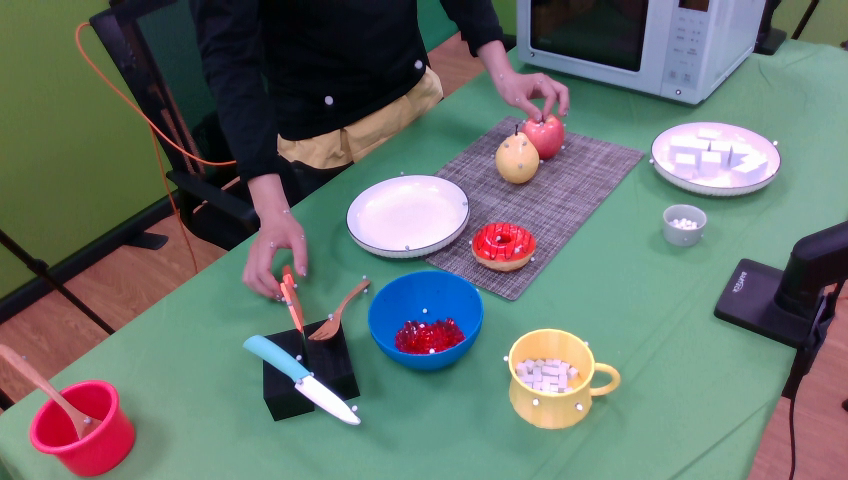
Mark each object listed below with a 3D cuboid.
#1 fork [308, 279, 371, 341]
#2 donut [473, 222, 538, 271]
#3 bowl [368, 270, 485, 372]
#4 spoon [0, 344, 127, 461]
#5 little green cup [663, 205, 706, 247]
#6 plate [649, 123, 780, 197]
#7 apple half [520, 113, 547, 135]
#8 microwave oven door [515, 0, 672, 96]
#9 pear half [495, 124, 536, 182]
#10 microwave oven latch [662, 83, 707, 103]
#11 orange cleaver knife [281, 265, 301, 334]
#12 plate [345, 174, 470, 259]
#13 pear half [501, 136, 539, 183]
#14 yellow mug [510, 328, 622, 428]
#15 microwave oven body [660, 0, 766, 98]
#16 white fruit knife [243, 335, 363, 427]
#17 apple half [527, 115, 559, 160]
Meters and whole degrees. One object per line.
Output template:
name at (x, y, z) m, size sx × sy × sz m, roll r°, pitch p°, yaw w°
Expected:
fork at (-0.109, 0.093, 0.832) m, size 0.028 × 0.018 × 0.207 m, roll -4°, pitch 19°, yaw 15°
donut at (0.123, 0.009, 0.923) m, size 0.099 × 0.048 × 0.098 m, roll -3°, pitch 37°, yaw 3°
bowl at (0.007, 0.118, 0.791) m, size 0.151 × 0.077 × 0.150 m, roll -5°, pitch 40°, yaw 4°
spoon at (-0.433, 0.191, 0.721) m, size 0.194 × 0.021 × 0.042 m, roll 47°, pitch 53°, yaw -6°
little green cup at (0.396, -0.021, 0.926) m, size 0.061 × 0.039 × 0.061 m, roll -4°, pitch 40°, yaw 4°
plate at (0.497, -0.135, 1.046) m, size 0.207 × 0.039 × 0.206 m, roll -4°, pitch 40°, yaw 4°
apple half at (0.200, -0.202, 1.137) m, size 0.032 × 0.081 × 0.081 m, roll 29°, pitch 52°, yaw 32°
microwave oven door at (0.343, -0.455, 1.259) m, size 0.353 × 0.245 × 0.039 m, roll 26°, pitch 51°, yaw 33°
pear half at (0.160, -0.162, 1.067) m, size 0.076 × 0.110 × 0.055 m, roll -17°, pitch 41°, yaw -15°
microwave oven latch at (0.517, -0.296, 1.204) m, size 0.078 × 0.029 × 0.030 m, roll 27°, pitch 52°, yaw 35°
orange cleaver knife at (-0.188, 0.080, 0.862) m, size 0.012 × 0.077 × 0.210 m, roll -19°, pitch 12°, yaw -9°
plate at (-0.026, -0.037, 1.004) m, size 0.209 × 0.038 × 0.208 m, roll -4°, pitch 40°, yaw 4°
pear half at (0.172, -0.134, 1.048) m, size 0.071 × 0.088 × 0.031 m, roll -16°, pitch 41°, yaw -16°
yellow mug at (0.169, 0.164, 0.722) m, size 0.130 × 0.064 × 0.099 m, roll 0°, pitch 40°, yaw 8°
microwave oven body at (0.472, -0.513, 1.317) m, size 0.438 × 0.261 × 0.327 m, roll 26°, pitch 51°, yaw 34°
white fruit knife at (-0.148, 0.167, 0.729) m, size 0.206 × 0.016 × 0.027 m, roll 27°, pitch 80°, yaw 31°
apple half at (0.223, -0.188, 1.118) m, size 0.053 × 0.075 × 0.081 m, roll 10°, pitch 36°, yaw 17°
